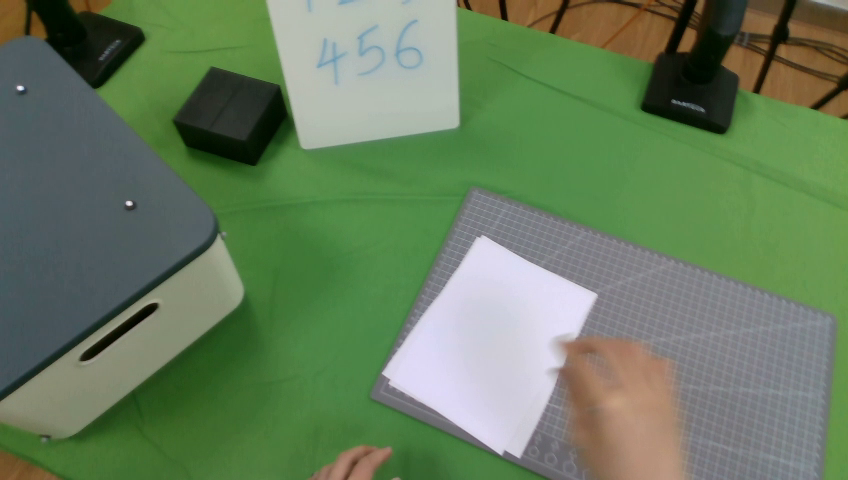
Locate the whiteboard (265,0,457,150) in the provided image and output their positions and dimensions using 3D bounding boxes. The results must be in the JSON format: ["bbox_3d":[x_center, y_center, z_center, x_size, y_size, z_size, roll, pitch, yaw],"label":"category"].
[{"bbox_3d":[-0.081,-0.297,0.764,0.217,0.308,0.142,-9,41,-6],"label":"whiteboard"}]

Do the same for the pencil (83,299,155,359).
[{"bbox_3d":[-0.313,0.076,0.668,0.012,0.012,0.193,24,50,13],"label":"pencil"}]

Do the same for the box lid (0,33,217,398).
[{"bbox_3d":[-0.402,-0.047,0.574,0.369,0.015,0.263,41,67,19],"label":"box lid"}]

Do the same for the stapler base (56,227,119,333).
[{"bbox_3d":[-0.382,0.039,0.680,0.041,0.025,0.129,-5,63,15],"label":"stapler base"}]

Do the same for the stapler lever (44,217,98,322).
[{"bbox_3d":[-0.387,0.029,0.658,0.027,0.040,0.117,-5,61,15],"label":"stapler lever"}]

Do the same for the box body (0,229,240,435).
[{"bbox_3d":[-0.402,-0.009,0.638,0.361,0.161,0.254,40,67,20],"label":"box body"}]
